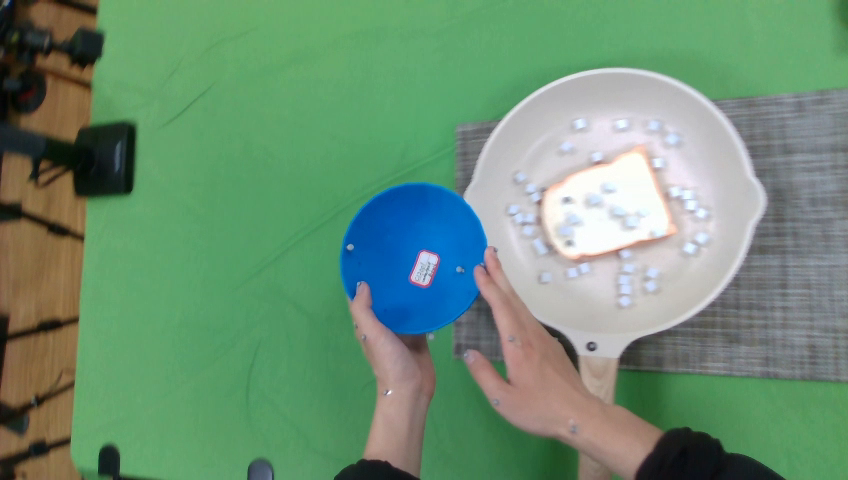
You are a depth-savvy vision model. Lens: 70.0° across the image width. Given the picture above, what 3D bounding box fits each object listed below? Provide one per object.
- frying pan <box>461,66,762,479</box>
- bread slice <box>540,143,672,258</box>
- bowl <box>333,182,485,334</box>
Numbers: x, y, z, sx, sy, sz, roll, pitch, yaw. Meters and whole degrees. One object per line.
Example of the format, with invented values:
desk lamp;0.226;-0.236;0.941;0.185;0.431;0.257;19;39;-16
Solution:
frying pan;0.184;0.060;0.648;0.305;0.103;0.485;2;76;21
bread slice;0.202;-0.036;0.695;0.134;0.018;0.106;-22;77;14
bowl;-0.008;0.023;0.621;0.151;0.077;0.150;-2;79;13
